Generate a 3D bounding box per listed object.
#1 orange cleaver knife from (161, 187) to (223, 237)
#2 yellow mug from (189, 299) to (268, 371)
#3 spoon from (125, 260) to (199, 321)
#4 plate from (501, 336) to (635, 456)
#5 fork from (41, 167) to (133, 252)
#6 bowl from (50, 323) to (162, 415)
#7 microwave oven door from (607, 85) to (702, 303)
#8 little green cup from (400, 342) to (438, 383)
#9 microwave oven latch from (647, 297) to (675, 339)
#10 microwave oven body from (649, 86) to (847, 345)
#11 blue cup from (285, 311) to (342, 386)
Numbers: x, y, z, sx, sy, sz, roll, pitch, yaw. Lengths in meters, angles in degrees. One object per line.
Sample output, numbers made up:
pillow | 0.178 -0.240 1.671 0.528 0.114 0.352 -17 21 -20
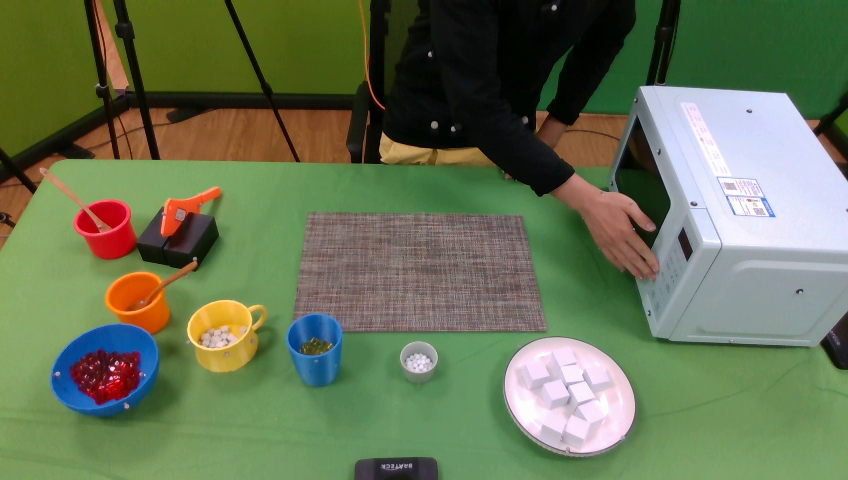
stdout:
orange cleaver knife | -0.448 -0.058 1.181 0.012 0.077 0.211 13 17 6
yellow mug | -0.316 0.148 1.001 0.131 0.064 0.099 -33 56 -31
spoon | -0.435 0.083 1.000 0.022 0.194 0.041 35 34 -35
plate | 0.225 0.248 0.963 0.208 0.039 0.206 2 46 -2
fork | -0.624 -0.056 1.121 0.208 0.018 0.028 49 52 -15
bowl | -0.472 0.209 0.924 0.151 0.077 0.150 2 45 -2
microwave oven door | 0.423 -0.094 1.141 0.039 0.245 0.353 2 46 -1
little green cup | -0.010 0.202 0.991 0.061 0.039 0.061 2 47 -2
microwave oven latch | 0.413 0.134 1.060 0.030 0.029 0.078 5 45 2
microwave oven body | 0.567 -0.053 1.118 0.326 0.261 0.439 2 45 -1
blue cup | -0.169 0.179 0.958 0.093 0.101 0.092 1 44 -1
